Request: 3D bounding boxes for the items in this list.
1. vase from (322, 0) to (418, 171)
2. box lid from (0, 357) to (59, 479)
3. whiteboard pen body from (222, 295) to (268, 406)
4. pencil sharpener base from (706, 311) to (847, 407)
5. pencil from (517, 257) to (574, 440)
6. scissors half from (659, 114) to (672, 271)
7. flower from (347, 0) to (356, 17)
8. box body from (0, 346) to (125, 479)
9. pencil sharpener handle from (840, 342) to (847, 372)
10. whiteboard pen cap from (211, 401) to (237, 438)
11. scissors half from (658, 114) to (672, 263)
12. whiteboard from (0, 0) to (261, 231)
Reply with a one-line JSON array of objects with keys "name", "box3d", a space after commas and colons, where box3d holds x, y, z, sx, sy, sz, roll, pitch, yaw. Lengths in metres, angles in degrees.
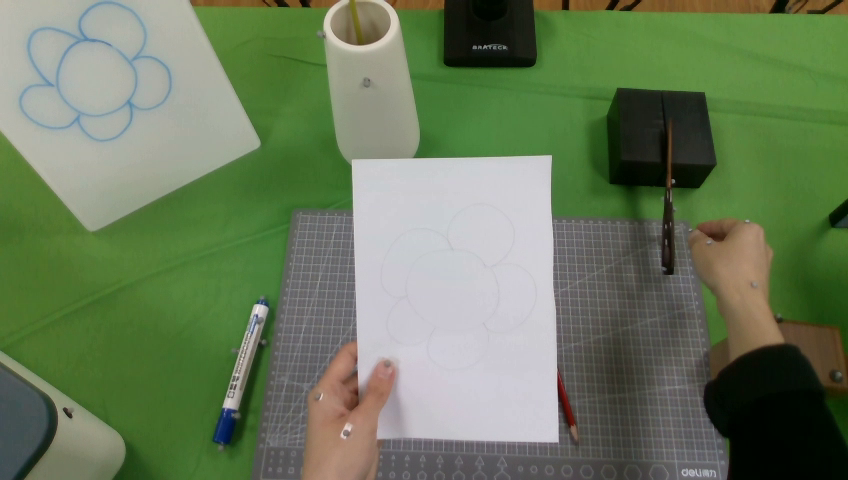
[{"name": "vase", "box3d": [-0.057, -0.160, 0.643, 0.098, 0.201, 0.097, -1, 63, 2]}, {"name": "box lid", "box3d": [-0.485, 0.144, 0.441, 0.370, 0.015, 0.262, 27, 67, 12]}, {"name": "whiteboard pen body", "box3d": [-0.183, 0.121, 0.611, 0.017, 0.017, 0.140, 8, 64, 5]}, {"name": "pencil sharpener base", "box3d": [0.323, 0.113, 0.561, 0.077, 0.108, 0.061, 6, 64, 0]}, {"name": "pencil", "box3d": [0.125, 0.106, 0.619, 0.012, 0.012, 0.192, -11, 67, -4]}, {"name": "scissors half", "box3d": [0.264, -0.053, 0.657, 0.012, 0.040, 0.174, 1, 83, 26]}, {"name": "flower", "box3d": [-0.065, -0.208, 0.574, 0.044, 0.365, 0.038, -5, 47, 2]}, {"name": "box body", "box3d": [-0.482, 0.178, 0.508, 0.362, 0.161, 0.253, 27, 68, 12]}, {"name": "pencil sharpener handle", "box3d": [0.374, 0.115, 0.550, 0.030, 0.068, 0.035, 6, 58, 0]}, {"name": "whiteboard pen cap", "box3d": [-0.191, 0.173, 0.584, 0.018, 0.018, 0.033, 9, 60, 5]}, {"name": "scissors half", "box3d": [0.256, -0.059, 0.639, 0.013, 0.040, 0.174, 2, 66, 21]}, {"name": "whiteboard", "box3d": [-0.350, -0.203, 0.640, 0.217, 0.309, 0.142, -30, 49, -12]}]
